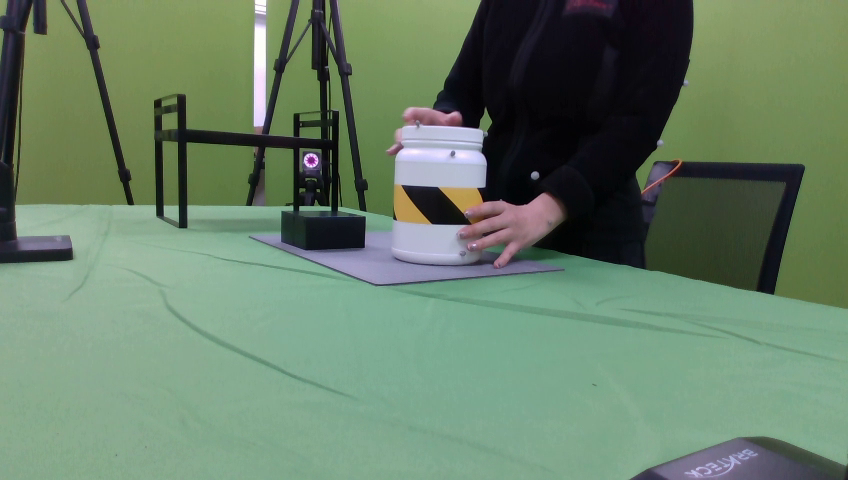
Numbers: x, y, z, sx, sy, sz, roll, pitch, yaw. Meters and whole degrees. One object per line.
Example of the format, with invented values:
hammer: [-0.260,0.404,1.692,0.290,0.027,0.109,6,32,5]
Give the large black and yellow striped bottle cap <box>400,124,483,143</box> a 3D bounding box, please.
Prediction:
large black and yellow striped bottle cap: [0.025,-0.148,0.843,0.115,0.019,0.115,3,8,0]

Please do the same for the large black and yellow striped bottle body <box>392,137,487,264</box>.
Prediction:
large black and yellow striped bottle body: [0.022,-0.065,0.853,0.131,0.184,0.130,2,7,0]
